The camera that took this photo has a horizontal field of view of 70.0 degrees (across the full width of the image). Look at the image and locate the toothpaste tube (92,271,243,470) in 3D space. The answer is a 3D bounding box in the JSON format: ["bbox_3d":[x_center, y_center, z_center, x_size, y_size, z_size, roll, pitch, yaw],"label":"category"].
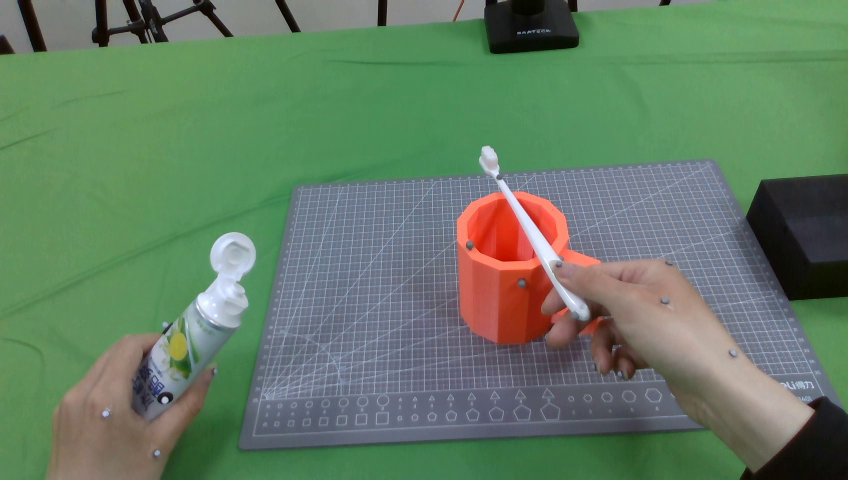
[{"bbox_3d":[-0.184,0.087,0.434,0.165,0.035,0.054,-50,61,9],"label":"toothpaste tube"}]

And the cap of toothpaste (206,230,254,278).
[{"bbox_3d":[-0.139,0.010,0.438,0.011,0.037,0.037,6,41,50],"label":"cap of toothpaste"}]

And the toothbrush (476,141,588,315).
[{"bbox_3d":[0.077,-0.016,0.453,0.014,0.017,0.180,-10,48,-16],"label":"toothbrush"}]

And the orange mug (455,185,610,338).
[{"bbox_3d":[0.084,0.024,0.488,0.125,0.102,0.083,19,52,26],"label":"orange mug"}]
